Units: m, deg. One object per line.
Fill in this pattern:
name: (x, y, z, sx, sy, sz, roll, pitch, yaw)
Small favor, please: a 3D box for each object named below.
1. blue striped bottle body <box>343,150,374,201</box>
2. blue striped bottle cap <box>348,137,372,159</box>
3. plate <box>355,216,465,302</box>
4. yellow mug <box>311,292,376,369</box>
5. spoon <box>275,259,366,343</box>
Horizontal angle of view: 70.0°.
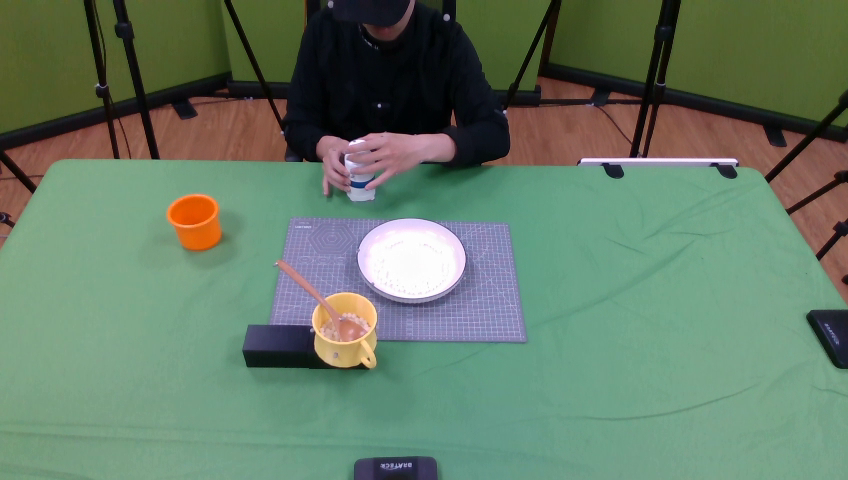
blue striped bottle body: (-0.136, -0.144, 1.257, 0.063, 0.121, 0.062, 3, 46, -3)
blue striped bottle cap: (-0.129, -0.185, 1.218, 0.044, 0.021, 0.044, -7, 54, 9)
plate: (-0.027, 0.039, 1.144, 0.208, 0.039, 0.206, 2, 46, -2)
yellow mug: (-0.115, 0.150, 0.945, 0.100, 0.064, 0.130, -30, 57, -28)
spoon: (-0.161, 0.098, 0.946, 0.194, 0.021, 0.041, 48, 56, -5)
